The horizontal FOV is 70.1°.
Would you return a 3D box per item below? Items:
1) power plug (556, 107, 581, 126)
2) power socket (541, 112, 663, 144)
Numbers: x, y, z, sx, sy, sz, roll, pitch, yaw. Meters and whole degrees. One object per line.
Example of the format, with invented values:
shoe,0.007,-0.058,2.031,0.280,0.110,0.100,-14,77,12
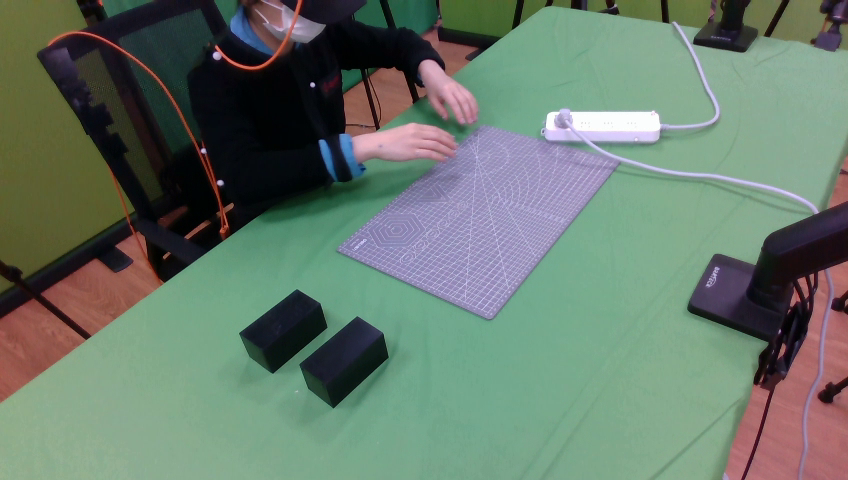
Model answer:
power plug,0.286,-0.238,1.162,0.073,0.035,0.052,-14,30,-42
power socket,0.341,-0.217,1.164,0.226,0.033,0.072,4,43,12
